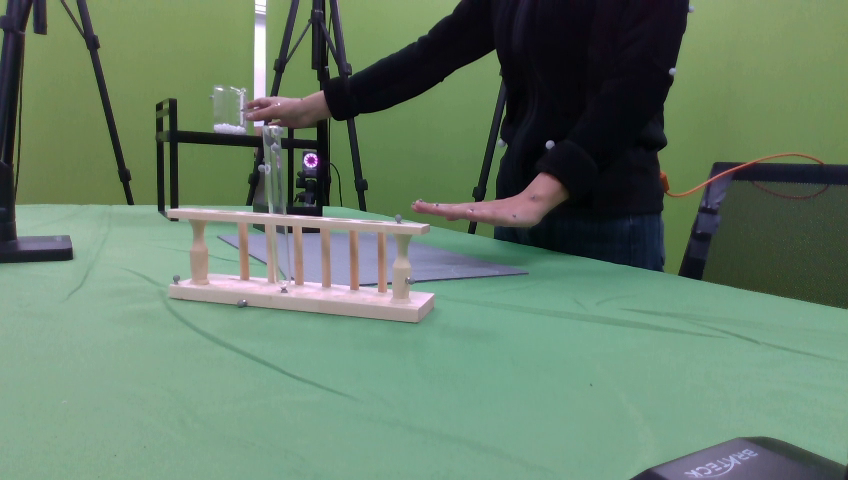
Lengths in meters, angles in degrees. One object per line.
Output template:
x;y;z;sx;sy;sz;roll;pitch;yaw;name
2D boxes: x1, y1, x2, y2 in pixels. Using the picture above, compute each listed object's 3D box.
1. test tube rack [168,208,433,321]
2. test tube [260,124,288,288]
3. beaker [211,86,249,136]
-0.116;0.017;0.574;0.242;0.085;0.067;4;8;13;test tube rack
-0.137;-0.030;0.555;0.017;0.150;0.017;-2;9;1;test tube
-0.413;-0.274;1.297;0.074;0.100;0.083;-5;11;-44;beaker
